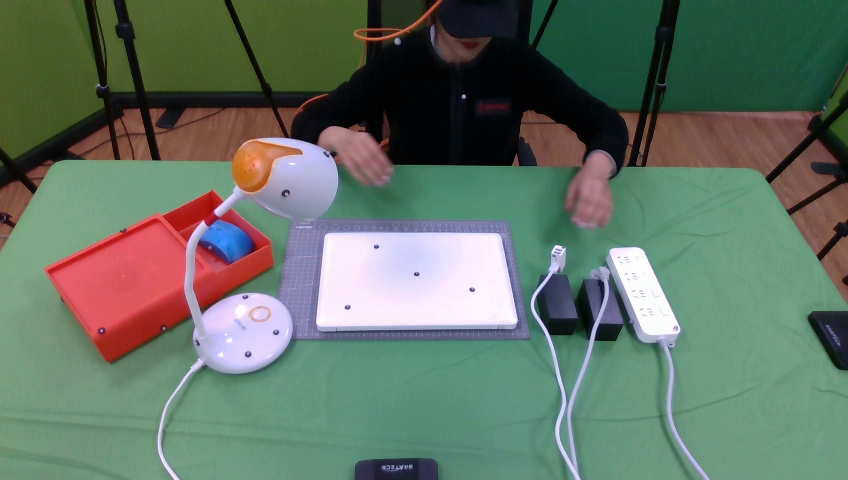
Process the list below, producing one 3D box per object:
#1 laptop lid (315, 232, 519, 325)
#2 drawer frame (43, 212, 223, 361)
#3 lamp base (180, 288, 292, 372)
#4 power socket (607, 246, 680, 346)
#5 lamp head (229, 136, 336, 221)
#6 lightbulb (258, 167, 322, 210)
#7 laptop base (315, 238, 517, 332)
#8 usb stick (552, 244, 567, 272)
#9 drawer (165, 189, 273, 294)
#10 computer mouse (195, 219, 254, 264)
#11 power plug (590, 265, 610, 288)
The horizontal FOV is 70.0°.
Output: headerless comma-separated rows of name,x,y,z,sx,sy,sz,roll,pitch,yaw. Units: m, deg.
laptop lid,-0.015,0.065,1.118,0.357,0.013,0.240,1,43,-3
drawer frame,-0.497,0.073,1.049,0.213,0.083,0.200,-34,57,-31
lamp base,-0.309,0.108,0.959,0.160,0.181,0.179,29,55,22
power socket,0.403,0.096,1.123,0.072,0.033,0.225,-2,46,-5
lamp head,-0.196,-0.085,0.791,0.112,0.112,0.123,36,14,27
lightbulb,-0.181,-0.072,0.808,0.059,0.059,0.108,33,11,25
laptop base,-0.016,0.075,1.125,0.355,0.023,0.234,0,42,-4
usb stick,0.251,0.039,1.123,0.021,0.059,0.027,14,47,24
drawer,-0.419,0.021,1.108,0.193,0.073,0.211,37,55,27
computer mouse,-0.380,-0.003,1.152,0.116,0.041,0.062,28,53,28
power plug,0.318,0.073,1.108,0.035,0.053,0.072,26,34,13
